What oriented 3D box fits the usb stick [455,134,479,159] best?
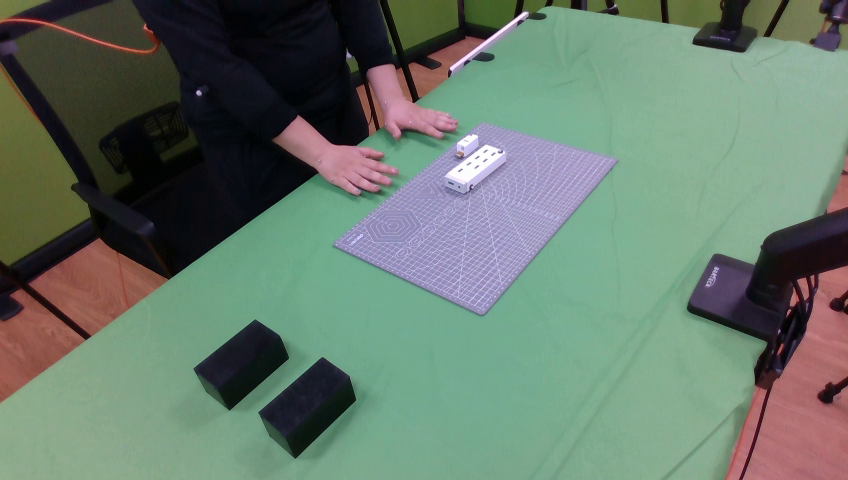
[{"bbox_3d":[0.080,-0.177,1.159,0.021,0.027,0.059,24,52,33],"label":"usb stick"}]

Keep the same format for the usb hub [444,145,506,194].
[{"bbox_3d":[0.095,-0.129,1.101,0.049,0.025,0.125,27,51,33],"label":"usb hub"}]
